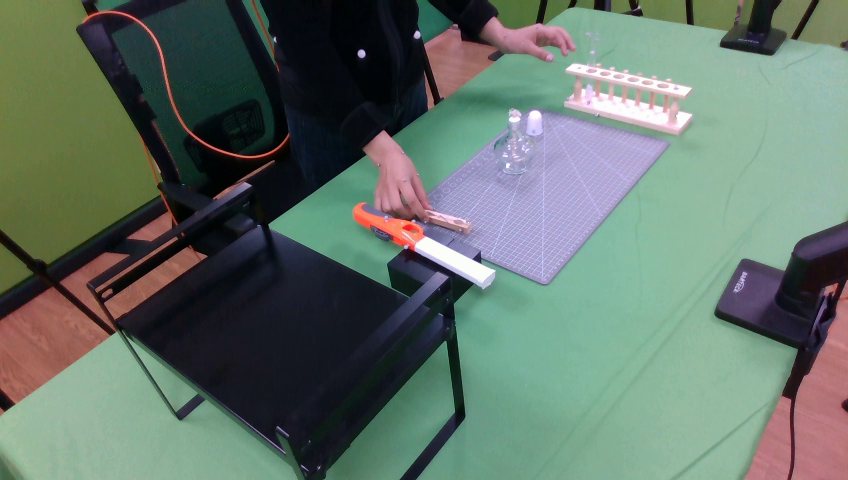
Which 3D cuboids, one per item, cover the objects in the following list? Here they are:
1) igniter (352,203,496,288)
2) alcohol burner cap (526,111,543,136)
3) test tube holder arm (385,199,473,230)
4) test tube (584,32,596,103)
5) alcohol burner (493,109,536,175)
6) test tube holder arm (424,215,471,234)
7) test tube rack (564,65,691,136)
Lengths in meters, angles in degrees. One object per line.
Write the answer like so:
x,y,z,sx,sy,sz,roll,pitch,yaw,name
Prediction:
-0.011,0.002,0.899,0.274,0.025,0.057,27,45,33,igniter
0.219,-0.232,1.196,0.034,0.048,0.033,-5,40,4,alcohol burner cap
0.005,-0.043,1.020,0.177,0.015,0.013,18,51,33,test tube holder arm
0.330,-0.338,1.199,0.017,0.151,0.017,-5,44,6,test tube
0.163,-0.179,1.087,0.078,0.119,0.077,-5,38,5,alcohol burner
0.038,-0.028,0.992,0.087,0.015,0.010,19,51,33,test tube holder arm
0.404,-0.287,1.204,0.240,0.085,0.067,24,49,32,test tube rack
